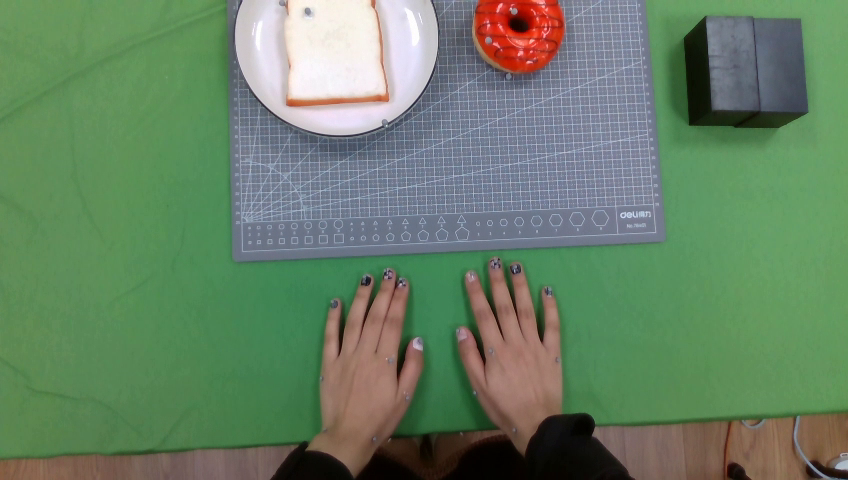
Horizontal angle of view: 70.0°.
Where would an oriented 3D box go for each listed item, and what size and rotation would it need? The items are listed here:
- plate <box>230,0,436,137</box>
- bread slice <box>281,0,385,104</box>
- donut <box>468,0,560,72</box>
[{"bbox_3d":[-0.091,-0.205,0.626,0.209,0.038,0.208,0,85,-3],"label":"plate"},{"bbox_3d":[-0.099,-0.208,0.627,0.105,0.019,0.131,-6,85,-4],"label":"bread slice"},{"bbox_3d":[0.094,-0.223,0.633,0.099,0.048,0.099,0,85,-5],"label":"donut"}]
